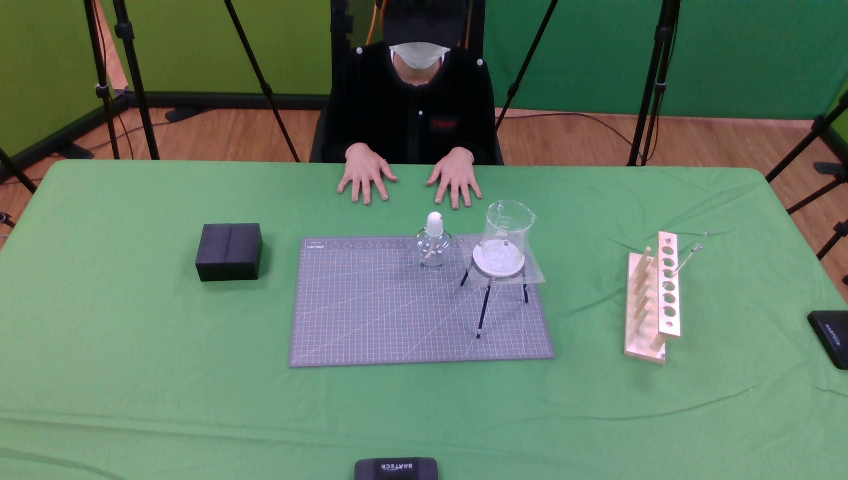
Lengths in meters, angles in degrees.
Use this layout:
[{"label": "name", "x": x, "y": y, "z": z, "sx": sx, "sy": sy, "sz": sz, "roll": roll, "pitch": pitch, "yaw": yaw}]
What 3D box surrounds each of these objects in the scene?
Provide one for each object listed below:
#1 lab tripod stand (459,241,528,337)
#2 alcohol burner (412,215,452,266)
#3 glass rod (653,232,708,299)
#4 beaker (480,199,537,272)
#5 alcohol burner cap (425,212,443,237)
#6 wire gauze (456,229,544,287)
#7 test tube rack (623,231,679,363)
[{"label": "lab tripod stand", "x": 0.122, "y": 0.075, "z": 1.054, "sx": 0.148, "sy": 0.132, "sz": 0.147, "roll": 3, "pitch": 44, "yaw": -3}, {"label": "alcohol burner", "x": 0.017, "y": -0.006, "z": 1.139, "sx": 0.078, "sy": 0.119, "sz": 0.077, "roll": 2, "pitch": 48, "yaw": -2}, {"label": "glass rod", "x": 0.441, "y": 0.049, "z": 1.050, "sx": 0.008, "sy": 0.200, "sz": 0.008, "roll": 4, "pitch": 52, "yaw": -5}, {"label": "beaker", "x": 0.132, "y": -0.004, "z": 0.973, "sx": 0.084, "sy": 0.101, "sz": 0.073, "roll": -4, "pitch": 47, "yaw": -9}, {"label": "alcohol burner cap", "x": 0.019, "y": -0.032, "z": 1.114, "sx": 0.034, "sy": 0.048, "sz": 0.033, "roll": 0, "pitch": 49, "yaw": 0}, {"label": "wire gauze", "x": 0.125, "y": 0.030, "z": 1.008, "sx": 0.125, "sy": 0.011, "sz": 0.120, "roll": -3, "pitch": 48, "yaw": -11}, {"label": "test tube rack", "x": 0.410, "y": 0.094, "z": 1.096, "sx": 0.066, "sy": 0.085, "sz": 0.241, "roll": 13, "pitch": 46, "yaw": 9}]
